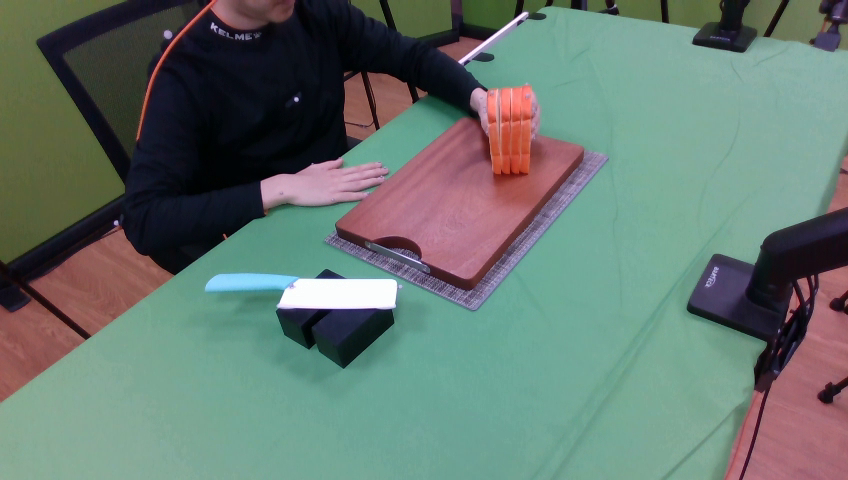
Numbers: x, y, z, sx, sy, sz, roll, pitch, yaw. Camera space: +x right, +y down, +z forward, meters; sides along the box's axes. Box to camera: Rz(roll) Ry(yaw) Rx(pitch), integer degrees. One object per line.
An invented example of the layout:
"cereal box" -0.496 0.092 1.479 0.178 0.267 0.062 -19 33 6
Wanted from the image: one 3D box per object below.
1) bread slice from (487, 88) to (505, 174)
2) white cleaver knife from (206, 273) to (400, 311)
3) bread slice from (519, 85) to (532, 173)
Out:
"bread slice" 0.126 -0.197 1.053 0.019 0.132 0.104 -4 39 12
"white cleaver knife" -0.173 0.071 0.846 0.286 0.021 0.065 0 40 11
"bread slice" 0.175 -0.197 1.044 0.018 0.135 0.106 2 44 7
